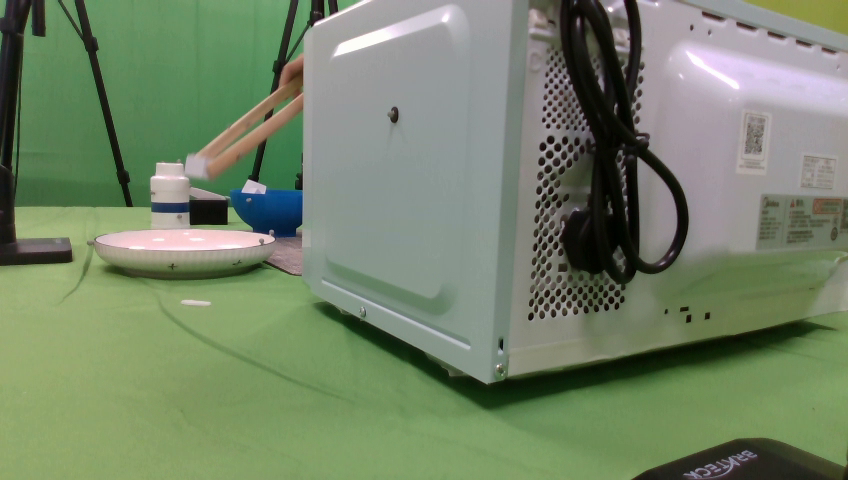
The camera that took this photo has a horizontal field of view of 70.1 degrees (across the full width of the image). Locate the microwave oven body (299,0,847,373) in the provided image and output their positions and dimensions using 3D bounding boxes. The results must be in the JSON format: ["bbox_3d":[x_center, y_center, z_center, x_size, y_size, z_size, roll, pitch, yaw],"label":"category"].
[{"bbox_3d":[0.152,-0.055,0.542,0.444,0.260,0.324,-2,7,-33],"label":"microwave oven body"}]

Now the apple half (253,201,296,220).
[{"bbox_3d":[-0.264,-0.053,1.066,0.081,0.033,0.081,1,8,0],"label":"apple half"}]

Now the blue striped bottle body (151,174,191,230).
[{"bbox_3d":[-0.439,-0.072,1.052,0.063,0.120,0.063,2,7,0],"label":"blue striped bottle body"}]

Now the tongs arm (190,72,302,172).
[{"bbox_3d":[-0.280,-0.225,1.074,0.050,0.026,0.385,7,38,17],"label":"tongs arm"}]

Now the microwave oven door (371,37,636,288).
[{"bbox_3d":[0.109,-0.080,0.686,0.358,0.243,0.039,-2,9,-33],"label":"microwave oven door"}]

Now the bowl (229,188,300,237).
[{"bbox_3d":[-0.264,-0.048,1.066,0.151,0.077,0.151,2,8,0],"label":"bowl"}]

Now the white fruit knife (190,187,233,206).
[{"bbox_3d":[-0.413,-0.081,1.270,0.208,0.027,0.016,17,13,-41],"label":"white fruit knife"}]

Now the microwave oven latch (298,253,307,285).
[{"bbox_3d":[-0.081,0.027,0.582,0.079,0.029,0.030,-1,7,-33],"label":"microwave oven latch"}]

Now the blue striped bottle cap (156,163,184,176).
[{"bbox_3d":[-0.438,-0.122,1.045,0.044,0.020,0.044,4,6,0],"label":"blue striped bottle cap"}]

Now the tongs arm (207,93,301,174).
[{"bbox_3d":[-0.258,-0.221,1.066,0.028,0.028,0.388,6,38,22],"label":"tongs arm"}]

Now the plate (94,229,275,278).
[{"bbox_3d":[-0.291,0.016,0.750,0.208,0.039,0.207,2,7,0],"label":"plate"}]

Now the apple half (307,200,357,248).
[{"bbox_3d":[-0.135,-0.024,0.941,0.053,0.074,0.081,13,9,39],"label":"apple half"}]
